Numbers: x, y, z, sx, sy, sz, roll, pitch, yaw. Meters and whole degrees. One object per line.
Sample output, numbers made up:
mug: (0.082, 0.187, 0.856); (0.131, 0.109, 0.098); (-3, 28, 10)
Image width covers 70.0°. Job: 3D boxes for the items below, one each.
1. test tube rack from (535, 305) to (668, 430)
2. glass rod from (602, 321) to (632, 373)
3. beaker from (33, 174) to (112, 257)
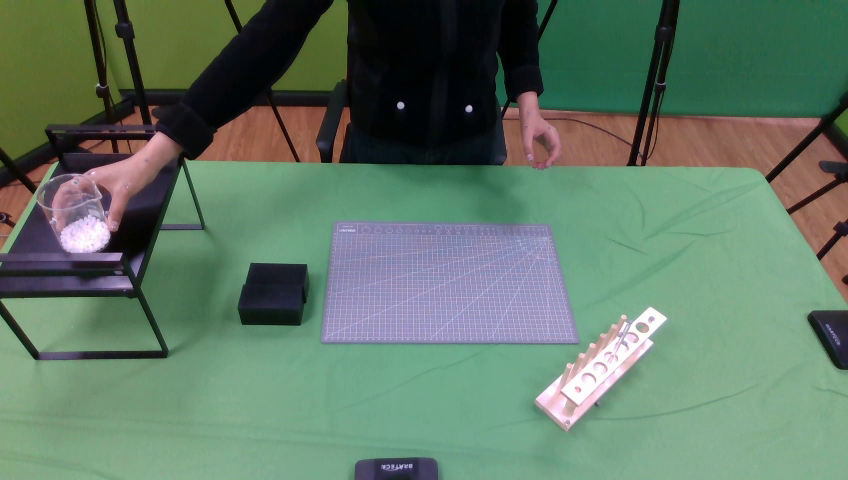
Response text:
test tube rack: (0.290, 0.193, 0.984); (0.242, 0.085, 0.066); (-32, 57, -30)
glass rod: (0.286, 0.173, 0.913); (0.008, 0.201, 0.008); (-1, 53, 1)
beaker: (-0.488, -0.032, 0.857); (0.084, 0.101, 0.073); (3, 47, -6)
